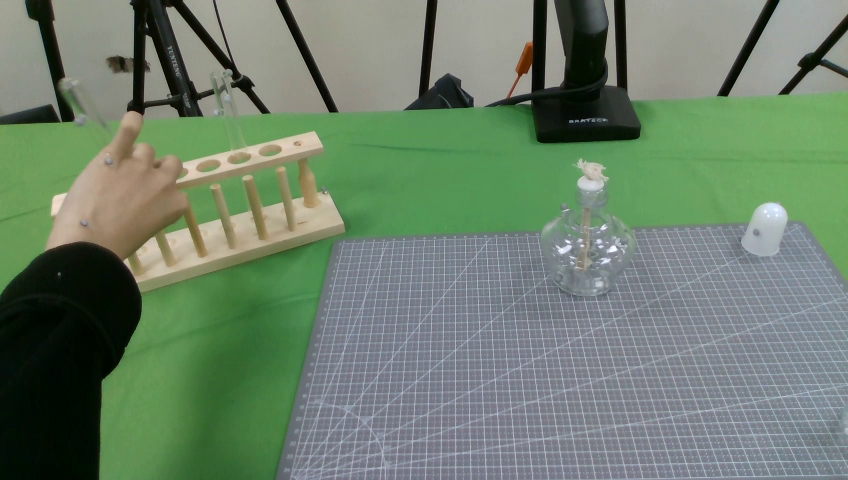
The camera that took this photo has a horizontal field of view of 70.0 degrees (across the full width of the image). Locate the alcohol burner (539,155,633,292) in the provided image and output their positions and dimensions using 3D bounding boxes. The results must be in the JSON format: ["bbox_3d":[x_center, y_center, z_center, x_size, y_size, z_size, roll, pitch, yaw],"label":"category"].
[{"bbox_3d":[0.134,-0.016,0.500,0.078,0.120,0.077,-4,39,4],"label":"alcohol burner"}]

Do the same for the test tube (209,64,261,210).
[{"bbox_3d":[-0.177,-0.091,0.572,0.017,0.151,0.017,-2,37,2],"label":"test tube"}]

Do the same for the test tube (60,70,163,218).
[{"bbox_3d":[-0.247,-0.071,0.487,0.017,0.152,0.017,-3,50,4],"label":"test tube"}]

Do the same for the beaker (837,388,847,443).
[{"bbox_3d":[0.302,0.090,0.366,0.074,0.101,0.083,-21,42,-18],"label":"beaker"}]

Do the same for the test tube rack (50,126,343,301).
[{"bbox_3d":[-0.208,-0.029,0.579,0.243,0.086,0.066,-17,42,-14],"label":"test tube rack"}]

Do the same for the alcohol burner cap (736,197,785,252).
[{"bbox_3d":[0.301,-0.017,0.539,0.034,0.048,0.033,-3,40,3],"label":"alcohol burner cap"}]
